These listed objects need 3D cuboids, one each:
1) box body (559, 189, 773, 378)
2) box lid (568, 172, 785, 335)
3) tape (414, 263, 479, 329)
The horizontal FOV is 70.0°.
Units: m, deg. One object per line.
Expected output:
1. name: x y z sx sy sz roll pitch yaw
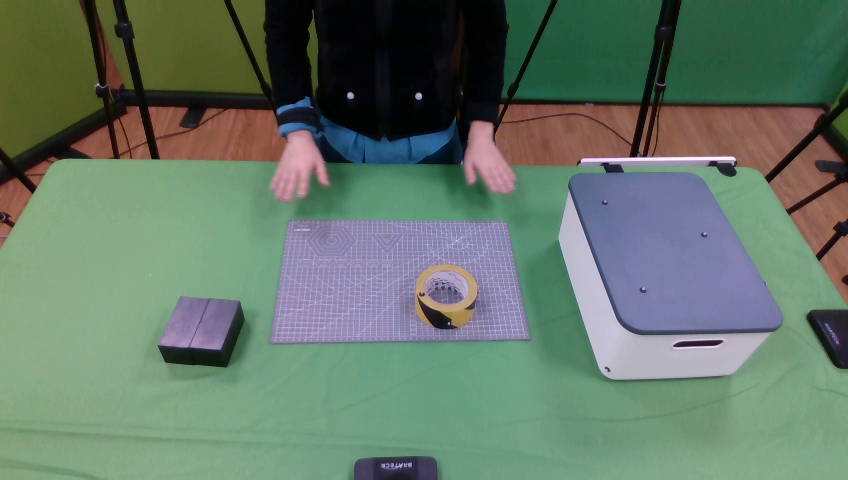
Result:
1. box body: 0.405 0.057 1.074 0.254 0.161 0.361 -2 46 -5
2. box lid: 0.407 0.007 1.019 0.263 0.015 0.369 -1 46 -5
3. tape: 0.038 0.099 1.080 0.117 0.053 0.116 3 46 -2
